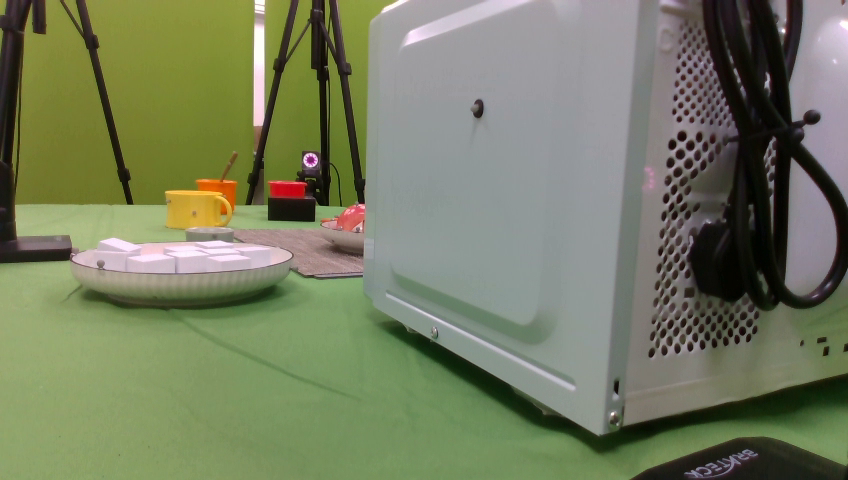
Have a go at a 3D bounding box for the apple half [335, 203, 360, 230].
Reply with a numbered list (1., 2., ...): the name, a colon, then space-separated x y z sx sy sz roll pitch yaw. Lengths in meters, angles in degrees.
1. apple half: -0.116 -0.038 0.960 0.081 0.033 0.081 -38 8 7

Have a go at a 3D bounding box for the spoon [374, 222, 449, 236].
1. spoon: -0.028 -0.026 1.178 0.193 0.021 0.042 9 25 42

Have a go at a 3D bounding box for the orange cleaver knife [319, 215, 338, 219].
1. orange cleaver knife: -0.142 -0.057 1.394 0.077 0.012 0.212 3 7 44

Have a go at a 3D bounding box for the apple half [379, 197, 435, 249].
1. apple half: -0.020 -0.030 0.891 0.081 0.053 0.074 -2 50 -26

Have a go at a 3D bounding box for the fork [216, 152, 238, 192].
1. fork: -0.455 -0.132 1.366 0.028 0.018 0.207 -3 -35 -38

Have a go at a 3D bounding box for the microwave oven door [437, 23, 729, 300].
1. microwave oven door: 0.181 -0.072 0.621 0.358 0.243 0.039 -2 8 -29

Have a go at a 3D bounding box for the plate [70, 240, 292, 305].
1. plate: -0.242 0.032 0.618 0.208 0.039 0.207 2 8 0

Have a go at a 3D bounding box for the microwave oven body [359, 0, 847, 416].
1. microwave oven body: 0.211 -0.047 0.474 0.444 0.260 0.324 -1 7 -28

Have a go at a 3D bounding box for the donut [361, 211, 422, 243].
1. donut: -0.051 -0.020 0.958 0.099 0.048 0.099 4 7 0

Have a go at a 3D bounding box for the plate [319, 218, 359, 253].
1. plate: -0.059 -0.007 0.939 0.209 0.038 0.209 3 8 0

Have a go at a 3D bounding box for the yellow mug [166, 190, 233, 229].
1. yellow mug: -0.415 -0.057 1.132 0.130 0.064 0.100 6 8 16

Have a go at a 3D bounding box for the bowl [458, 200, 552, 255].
1. bowl: 0.128 -0.020 0.978 0.151 0.077 0.151 3 8 0

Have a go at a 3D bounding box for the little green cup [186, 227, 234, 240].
1. little green cup: -0.285 0.005 0.805 0.061 0.038 0.061 2 8 0

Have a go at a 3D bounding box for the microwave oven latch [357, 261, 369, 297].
1. microwave oven latch: -0.019 0.033 0.530 0.079 0.029 0.030 -1 7 -27
